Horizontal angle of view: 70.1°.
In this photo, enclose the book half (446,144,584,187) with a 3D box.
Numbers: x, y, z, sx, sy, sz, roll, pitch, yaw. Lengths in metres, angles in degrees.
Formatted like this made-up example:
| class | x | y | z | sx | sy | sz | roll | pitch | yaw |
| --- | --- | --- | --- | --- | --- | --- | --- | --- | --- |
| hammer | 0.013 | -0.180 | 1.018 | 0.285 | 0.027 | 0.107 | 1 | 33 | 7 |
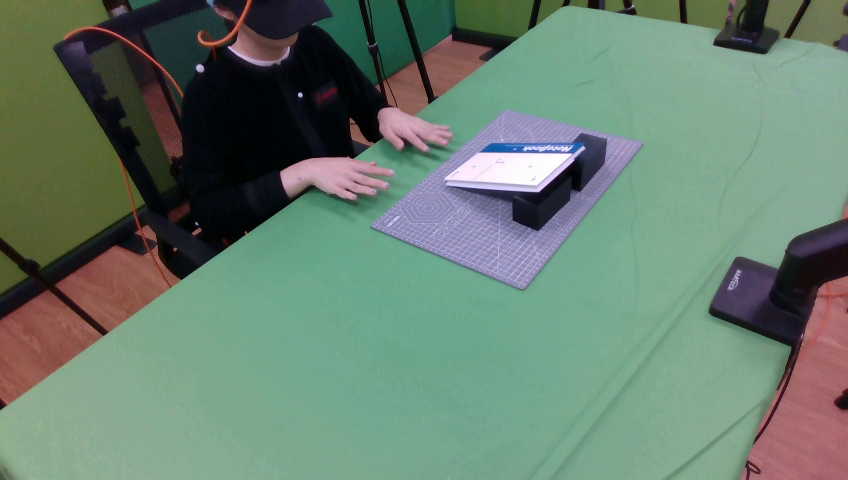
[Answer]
| class | x | y | z | sx | sy | sz | roll | pitch | yaw |
| --- | --- | --- | --- | --- | --- | --- | --- | --- | --- |
| book half | 0.154 | -0.134 | 1.056 | 0.208 | 0.007 | 0.143 | 10 | 40 | 46 |
